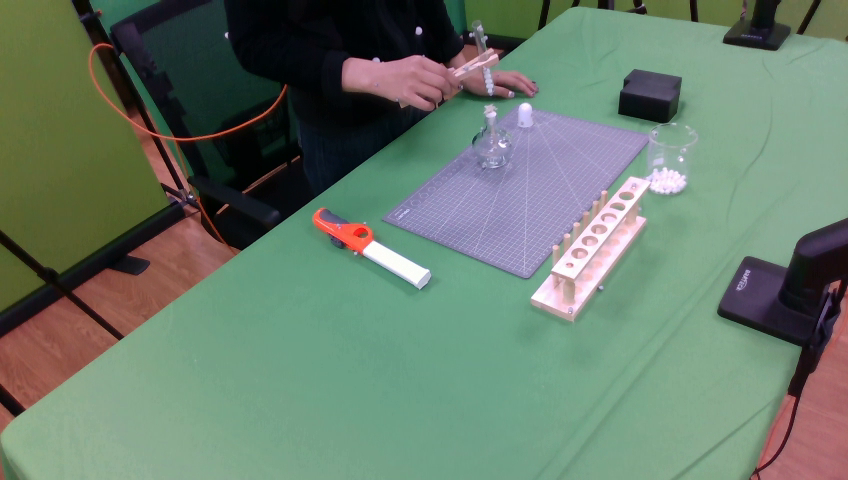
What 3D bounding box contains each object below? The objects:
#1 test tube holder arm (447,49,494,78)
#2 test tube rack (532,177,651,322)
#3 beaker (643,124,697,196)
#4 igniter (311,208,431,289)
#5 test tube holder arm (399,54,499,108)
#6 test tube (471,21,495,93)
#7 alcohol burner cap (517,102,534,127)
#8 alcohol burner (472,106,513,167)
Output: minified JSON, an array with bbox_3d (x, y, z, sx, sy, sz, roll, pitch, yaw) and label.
[{"bbox_3d":[0.077,-0.287,0.999,0.088,0.015,0.010,-33,54,-5],"label":"test tube holder arm"},{"bbox_3d":[0.247,0.002,0.883,0.066,0.085,0.243,22,49,32],"label":"test tube rack"},{"bbox_3d":[0.407,-0.132,1.001,0.084,0.101,0.073,-20,42,-13],"label":"beaker"},{"bbox_3d":[-0.096,0.008,0.986,0.274,0.025,0.057,28,62,36],"label":"igniter"},{"bbox_3d":[0.040,-0.262,0.994,0.178,0.015,0.013,-26,54,-1],"label":"test tube holder arm"},{"bbox_3d":[0.099,-0.297,0.995,0.017,0.151,0.017,-7,59,12],"label":"test tube"},{"bbox_3d":[0.205,-0.255,1.223,0.034,0.048,0.033,-6,40,6],"label":"alcohol burner cap"},{"bbox_3d":[0.125,-0.195,1.111,0.078,0.119,0.077,-5,42,5],"label":"alcohol burner"}]
